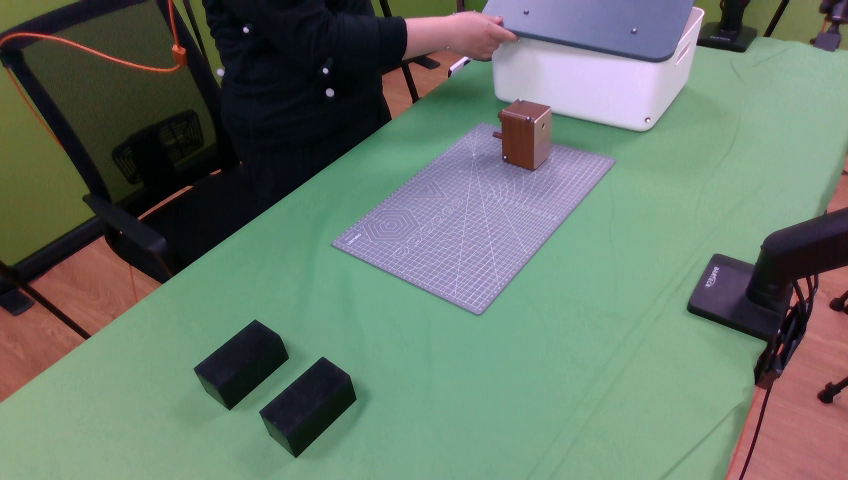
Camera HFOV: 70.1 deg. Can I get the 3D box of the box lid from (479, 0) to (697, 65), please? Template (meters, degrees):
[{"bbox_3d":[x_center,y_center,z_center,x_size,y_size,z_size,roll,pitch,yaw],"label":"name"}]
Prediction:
[{"bbox_3d":[0.316,-0.459,1.149,0.369,0.015,0.263,18,67,20],"label":"box lid"}]

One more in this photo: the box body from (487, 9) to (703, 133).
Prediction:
[{"bbox_3d":[0.346,-0.374,1.251,0.361,0.161,0.255,20,48,29],"label":"box body"}]

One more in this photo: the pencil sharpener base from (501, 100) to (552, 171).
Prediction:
[{"bbox_3d":[0.184,-0.191,1.097,0.076,0.107,0.061,23,49,32],"label":"pencil sharpener base"}]

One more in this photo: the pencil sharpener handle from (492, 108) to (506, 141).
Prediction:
[{"bbox_3d":[0.141,-0.215,1.113,0.030,0.068,0.036,23,40,32],"label":"pencil sharpener handle"}]
